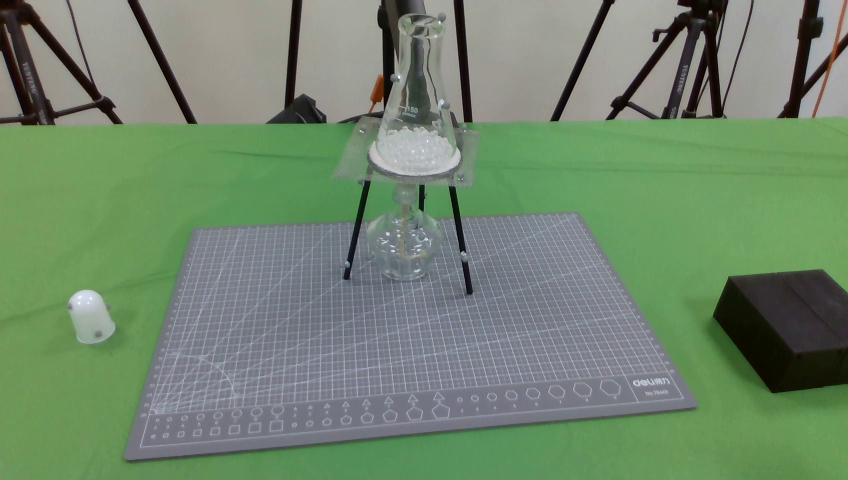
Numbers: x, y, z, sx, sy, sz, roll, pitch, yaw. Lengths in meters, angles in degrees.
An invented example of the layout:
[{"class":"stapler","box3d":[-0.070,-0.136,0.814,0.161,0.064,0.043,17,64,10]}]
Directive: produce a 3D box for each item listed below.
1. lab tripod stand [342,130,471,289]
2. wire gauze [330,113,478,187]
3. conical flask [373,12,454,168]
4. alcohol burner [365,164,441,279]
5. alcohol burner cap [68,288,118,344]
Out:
[{"class":"lab tripod stand","box3d":[-0.009,-0.030,0.599,0.148,0.132,0.147,4,36,-2]},{"class":"wire gauze","box3d":[-0.013,-0.083,0.560,0.121,0.011,0.124,6,38,4]},{"class":"conical flask","box3d":[-0.007,-0.130,0.522,0.075,0.123,0.074,3,37,-2]},{"class":"alcohol burner","box3d":[-0.021,-0.021,0.603,0.078,0.120,0.077,1,35,0]},{"class":"alcohol burner cap","box3d":[-0.293,0.065,0.532,0.034,0.048,0.033,2,36,-1]}]
